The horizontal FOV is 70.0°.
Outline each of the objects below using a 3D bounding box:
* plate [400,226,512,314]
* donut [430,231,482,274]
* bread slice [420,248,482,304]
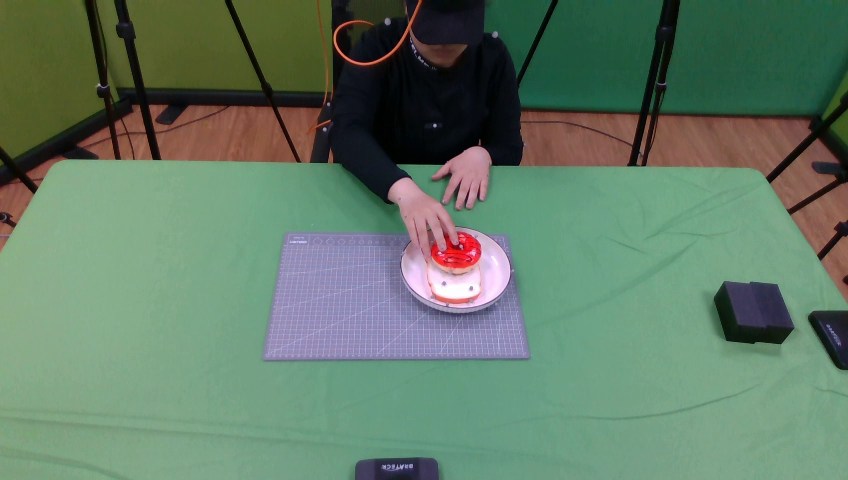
[{"bbox_3d":[0.057,0.057,1.134,0.209,0.038,0.208,2,46,-2],"label":"plate"},{"bbox_3d":[0.060,0.021,1.132,0.099,0.048,0.098,0,43,0],"label":"donut"},{"bbox_3d":[0.056,0.062,1.131,0.107,0.018,0.133,-5,46,-8],"label":"bread slice"}]
